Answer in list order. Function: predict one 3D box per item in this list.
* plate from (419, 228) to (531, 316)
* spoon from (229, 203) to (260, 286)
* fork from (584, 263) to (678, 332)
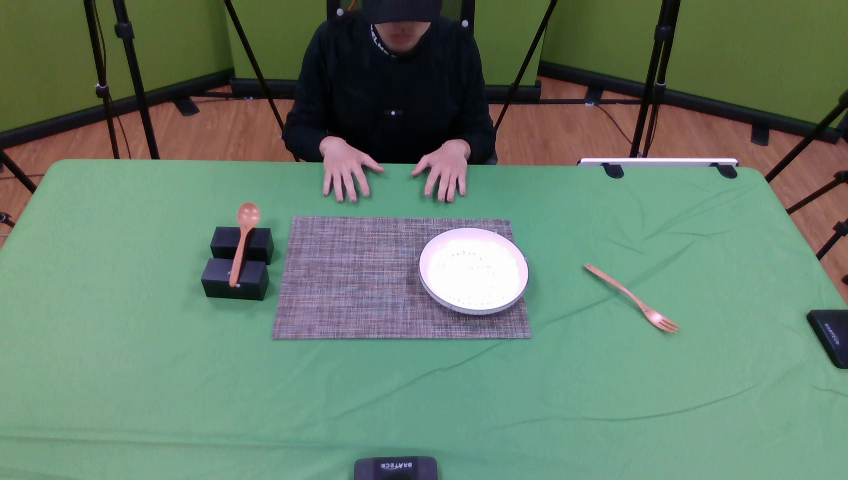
[{"bbox_3d":[0.093,0.062,1.131,0.208,0.039,0.206,2,46,-2],"label":"plate"},{"bbox_3d":[-0.332,0.005,1.100,0.042,0.022,0.192,17,43,-19],"label":"spoon"},{"bbox_3d":[0.380,0.103,1.130,0.028,0.019,0.206,-34,58,-23],"label":"fork"}]
